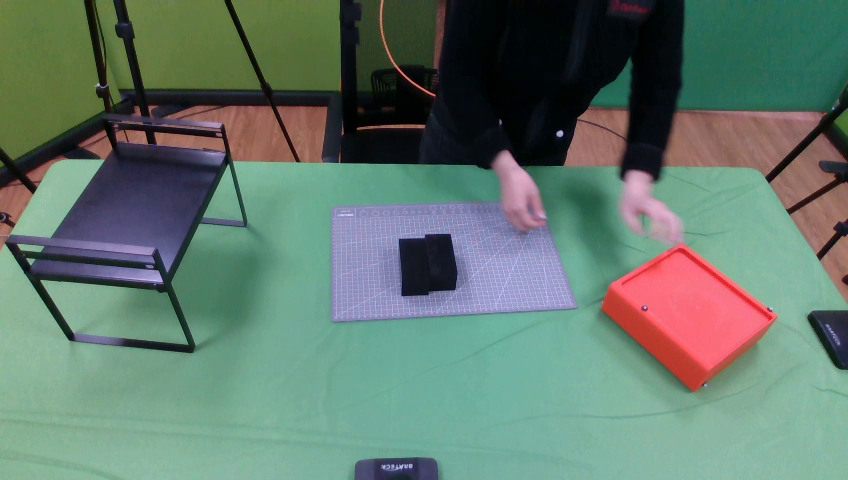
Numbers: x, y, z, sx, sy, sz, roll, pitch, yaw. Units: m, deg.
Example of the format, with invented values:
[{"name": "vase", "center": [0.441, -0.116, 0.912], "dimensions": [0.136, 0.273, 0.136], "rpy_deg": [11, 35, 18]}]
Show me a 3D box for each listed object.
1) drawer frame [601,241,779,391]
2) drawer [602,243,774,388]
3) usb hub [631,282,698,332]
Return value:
[{"name": "drawer frame", "center": [0.462, 0.124, 1.066], "dimensions": [0.202, 0.083, 0.212], "rpy_deg": [-26, 54, -26]}, {"name": "drawer", "center": [0.460, 0.126, 1.069], "dimensions": [0.194, 0.073, 0.210], "rpy_deg": [-25, 53, -26]}, {"name": "usb hub", "center": [0.434, 0.120, 1.093], "dimensions": [0.125, 0.025, 0.049], "rpy_deg": [-24, 52, -26]}]
